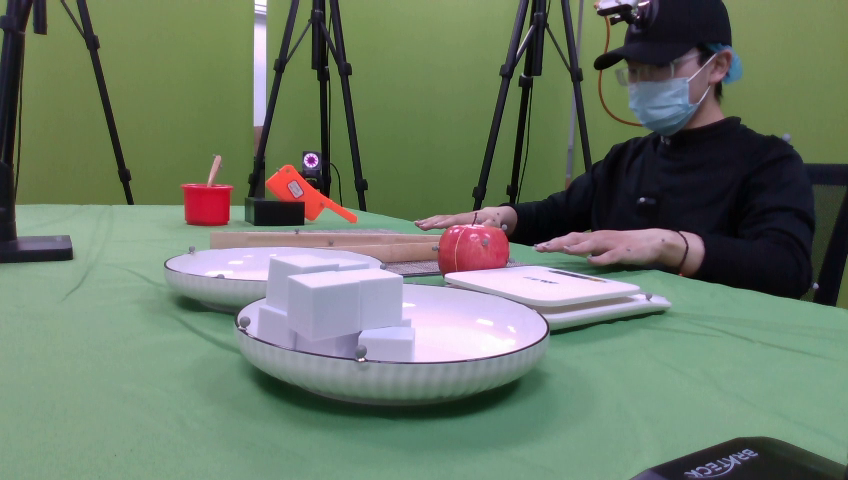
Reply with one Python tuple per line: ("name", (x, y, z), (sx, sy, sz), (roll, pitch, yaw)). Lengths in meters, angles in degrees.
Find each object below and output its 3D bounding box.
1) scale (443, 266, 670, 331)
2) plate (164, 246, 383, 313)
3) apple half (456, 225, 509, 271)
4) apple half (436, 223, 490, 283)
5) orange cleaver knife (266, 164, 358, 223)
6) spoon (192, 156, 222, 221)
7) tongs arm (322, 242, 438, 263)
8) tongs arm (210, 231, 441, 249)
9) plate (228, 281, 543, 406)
("scale", (0.131, 0.052, 0.603), (0.202, 0.031, 0.148), (-2, 9, -37))
("plate", (-0.145, 0.038, 0.600), (0.209, 0.038, 0.209), (2, 7, 0))
("apple half", (0.071, 0.021, 0.662), (0.082, 0.081, 0.032), (-4, 7, -42))
("apple half", (0.045, 0.017, 0.691), (0.081, 0.074, 0.053), (-9, 10, -41))
("orange cleaver knife", (-0.238, -0.082, 1.295), (0.212, 0.077, 0.012), (35, -9, -26))
("spoon", (-0.430, -0.108, 1.222), (0.041, 0.021, 0.193), (-1, 52, 0))
("tongs arm", (-0.070, 0.017, 0.800), (0.390, 0.028, 0.028), (-2, 5, -34))
("tongs arm", (-0.106, 0.004, 0.876), (0.386, 0.026, 0.050), (0, 7, -20))
("plate", (-0.025, 0.067, 0.413), (0.208, 0.039, 0.207), (3, 7, 0))
